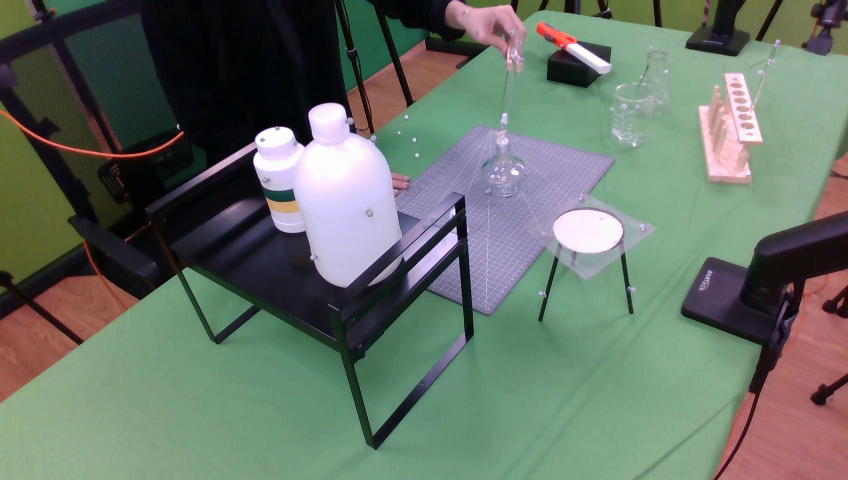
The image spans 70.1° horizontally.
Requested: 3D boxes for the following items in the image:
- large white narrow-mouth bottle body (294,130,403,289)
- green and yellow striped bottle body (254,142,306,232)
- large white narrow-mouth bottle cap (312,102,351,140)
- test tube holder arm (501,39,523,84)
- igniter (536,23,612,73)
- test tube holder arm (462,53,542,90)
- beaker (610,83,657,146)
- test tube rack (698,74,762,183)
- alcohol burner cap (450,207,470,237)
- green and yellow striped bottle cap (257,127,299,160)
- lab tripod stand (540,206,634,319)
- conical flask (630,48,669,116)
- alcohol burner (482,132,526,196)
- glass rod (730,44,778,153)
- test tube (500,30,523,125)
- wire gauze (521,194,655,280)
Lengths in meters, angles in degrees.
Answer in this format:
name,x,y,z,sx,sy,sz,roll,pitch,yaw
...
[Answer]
name,x,y,z,sx,sy,sz,roll,pitch,yaw
large white narrow-mouth bottle body,-0.082,-0.047,0.634,0.102,0.195,0.101,-4,39,4
green and yellow striped bottle body,-0.165,-0.073,0.732,0.063,0.120,0.063,-4,41,4
large white narrow-mouth bottle cap,-0.089,-0.114,0.579,0.038,0.024,0.037,-4,39,3
test tube holder arm,0.142,-0.284,0.967,0.010,0.088,0.015,15,68,31
igniter,0.330,-0.439,1.366,0.057,0.025,0.274,-12,40,-20
test tube holder arm,0.125,-0.277,1.003,0.177,0.013,0.015,-4,58,51
beaker,0.388,-0.235,1.138,0.074,0.101,0.083,-31,46,-25
test tube rack,0.547,-0.208,1.095,0.066,0.085,0.242,5,42,15
alcohol burner cap,0.057,-0.032,0.987,0.034,0.048,0.033,-5,41,5
green and yellow striped bottle cap,-0.169,-0.112,0.698,0.045,0.020,0.045,-5,40,5
lab tripod stand,0.218,0.034,0.821,0.148,0.132,0.147,-4,42,4
conical flask,0.457,-0.317,1.205,0.075,0.122,0.075,-4,40,4
alcohol burner,0.137,-0.136,1.042,0.078,0.119,0.077,-4,43,4
glass rod,0.555,-0.233,1.020,0.008,0.200,0.008,2,39,-1
test tube,0.138,-0.255,0.957,0.017,0.150,0.017,4,30,-2
wire gauze,0.207,-0.012,0.772,0.122,0.011,0.124,-28,44,-20
